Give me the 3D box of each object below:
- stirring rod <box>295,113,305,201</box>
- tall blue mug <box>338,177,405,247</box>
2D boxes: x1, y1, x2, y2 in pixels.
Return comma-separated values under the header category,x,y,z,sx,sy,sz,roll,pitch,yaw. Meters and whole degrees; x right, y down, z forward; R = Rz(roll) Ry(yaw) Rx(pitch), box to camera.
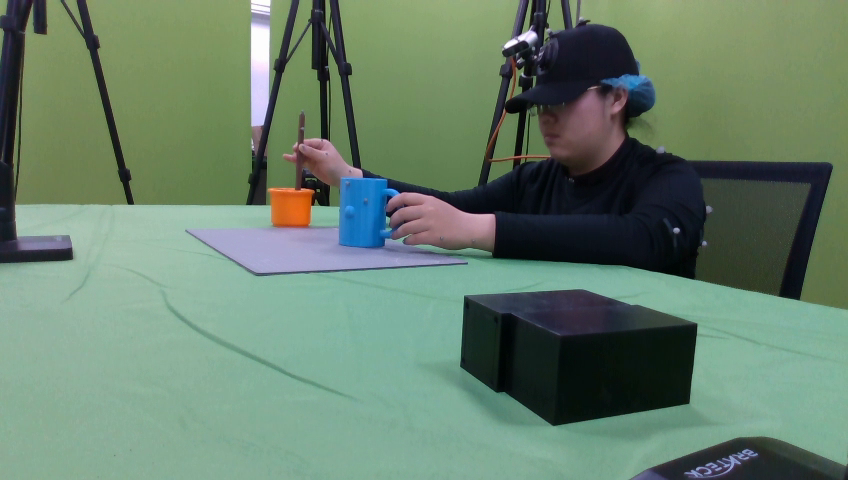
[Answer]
category,x,y,z,sx,sy,sz,roll,pitch,yaw
stirring rod,-0.249,-0.166,1.211,0.006,0.176,0.014,2,-2,25
tall blue mug,-0.083,-0.046,0.977,0.107,0.108,0.078,2,6,-1
